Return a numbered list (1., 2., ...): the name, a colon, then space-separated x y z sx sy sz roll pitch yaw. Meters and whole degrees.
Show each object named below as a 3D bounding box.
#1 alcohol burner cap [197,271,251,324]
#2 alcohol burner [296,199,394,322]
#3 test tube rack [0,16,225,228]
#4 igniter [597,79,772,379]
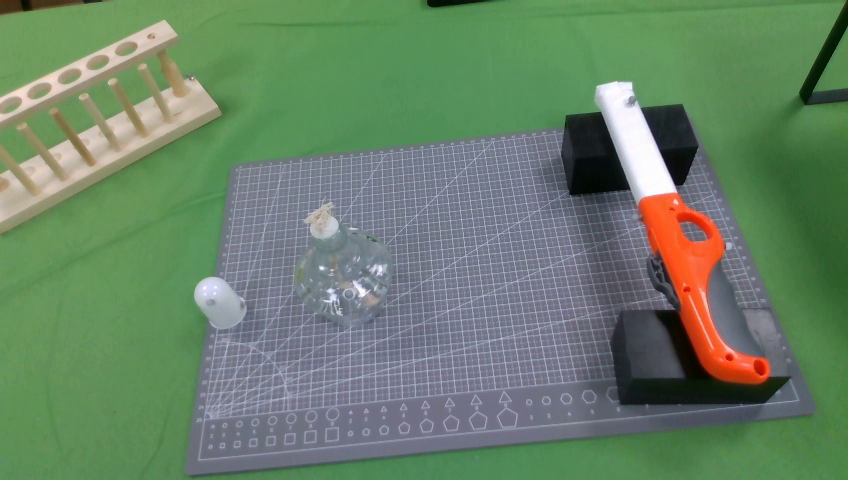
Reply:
1. alcohol burner cap: -0.165 0.044 0.493 0.034 0.048 0.033 -3 57 5
2. alcohol burner: -0.063 0.012 0.460 0.078 0.120 0.077 -3 54 5
3. test tube rack: -0.333 -0.118 0.598 0.242 0.086 0.066 -33 59 -15
4. igniter: 0.181 -0.024 0.451 0.057 0.025 0.273 -9 54 2
